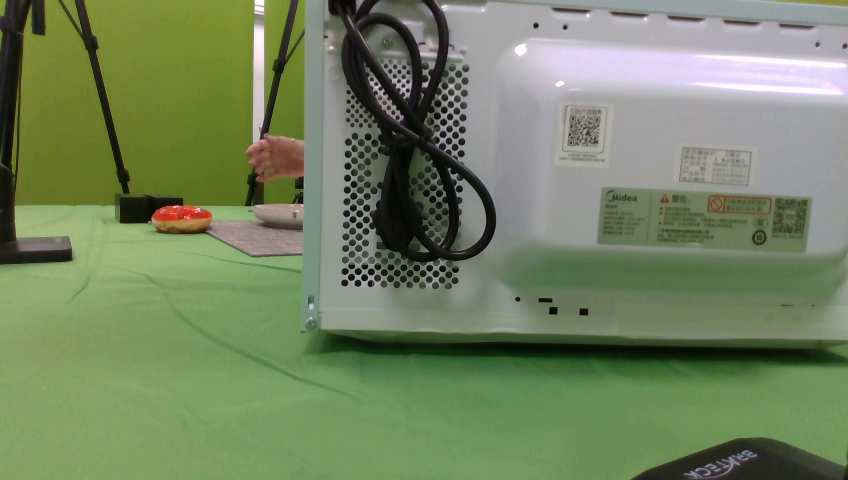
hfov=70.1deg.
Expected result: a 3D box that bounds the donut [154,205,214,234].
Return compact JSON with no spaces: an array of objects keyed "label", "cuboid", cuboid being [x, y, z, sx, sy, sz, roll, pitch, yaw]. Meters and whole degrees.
[{"label":"donut","cuboid":[-0.426,-0.037,1.075,0.099,0.048,0.099,2,12,0]}]

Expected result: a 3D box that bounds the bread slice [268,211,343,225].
[{"label":"bread slice","cuboid":[-0.244,-0.046,1.220,0.104,0.019,0.132,7,9,36]}]

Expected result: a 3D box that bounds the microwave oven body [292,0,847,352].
[{"label":"microwave oven body","cuboid":[0.122,-0.055,0.550,0.442,0.260,0.325,3,7,-5]}]

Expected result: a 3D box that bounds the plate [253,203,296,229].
[{"label":"plate","cuboid":[-0.238,-0.047,1.226,0.208,0.039,0.207,3,7,0]}]

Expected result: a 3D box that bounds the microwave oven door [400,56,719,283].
[{"label":"microwave oven door","cuboid":[0.155,-0.077,0.697,0.356,0.243,0.039,2,8,-5]}]

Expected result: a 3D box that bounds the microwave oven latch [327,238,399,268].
[{"label":"microwave oven latch","cuboid":[-0.069,0.015,0.694,0.079,0.029,0.030,3,7,-3]}]
